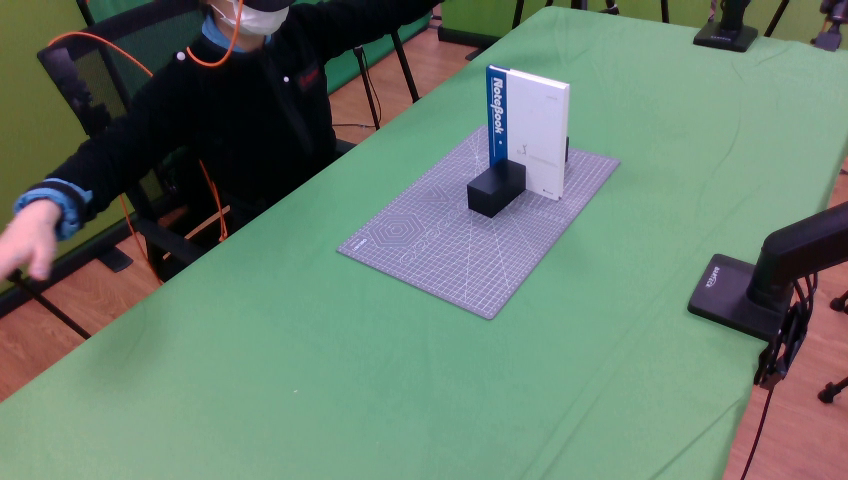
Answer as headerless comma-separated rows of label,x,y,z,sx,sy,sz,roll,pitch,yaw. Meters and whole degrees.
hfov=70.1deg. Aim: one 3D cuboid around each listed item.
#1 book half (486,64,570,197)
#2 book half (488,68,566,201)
book half,0.170,-0.176,1.000,0.147,0.211,0.016,26,51,33
book half,0.167,-0.171,0.995,0.142,0.211,0.007,27,52,34
